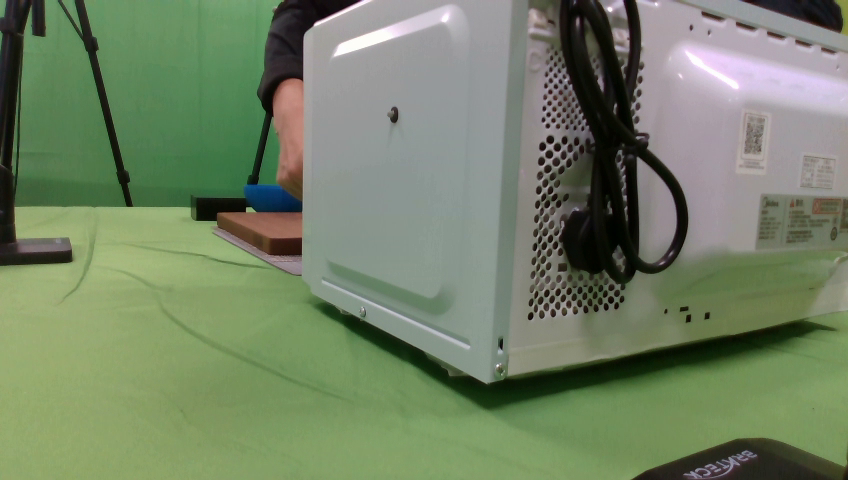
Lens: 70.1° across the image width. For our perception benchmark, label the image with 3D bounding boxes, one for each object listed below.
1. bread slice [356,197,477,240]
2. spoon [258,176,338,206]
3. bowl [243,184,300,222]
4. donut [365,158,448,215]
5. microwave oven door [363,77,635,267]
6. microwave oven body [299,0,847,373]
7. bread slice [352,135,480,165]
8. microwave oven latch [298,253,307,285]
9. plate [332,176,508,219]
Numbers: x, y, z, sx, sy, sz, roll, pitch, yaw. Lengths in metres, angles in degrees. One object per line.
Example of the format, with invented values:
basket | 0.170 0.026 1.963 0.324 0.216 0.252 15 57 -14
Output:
bread slice | -0.002 -0.024 0.688 0.105 0.019 0.131 11 -14 -31
spoon | -0.279 -0.112 1.356 0.194 0.021 0.041 -27 19 -27
bowl | -0.322 -0.081 1.334 0.151 0.077 0.151 3 7 0
donut | -0.021 -0.064 0.711 0.099 0.048 0.099 13 -13 4
microwave oven door | 0.091 -0.098 0.823 0.355 0.243 0.039 4 8 15
microwave oven body | 0.151 -0.055 0.543 0.444 0.260 0.324 -2 7 -33
bread slice | -0.002 -0.106 0.718 0.133 0.018 0.107 12 6 39
microwave oven latch | -0.081 0.027 0.583 0.079 0.029 0.030 -2 7 -33
plate | -0.005 -0.047 0.717 0.208 0.039 0.207 1 0 0
